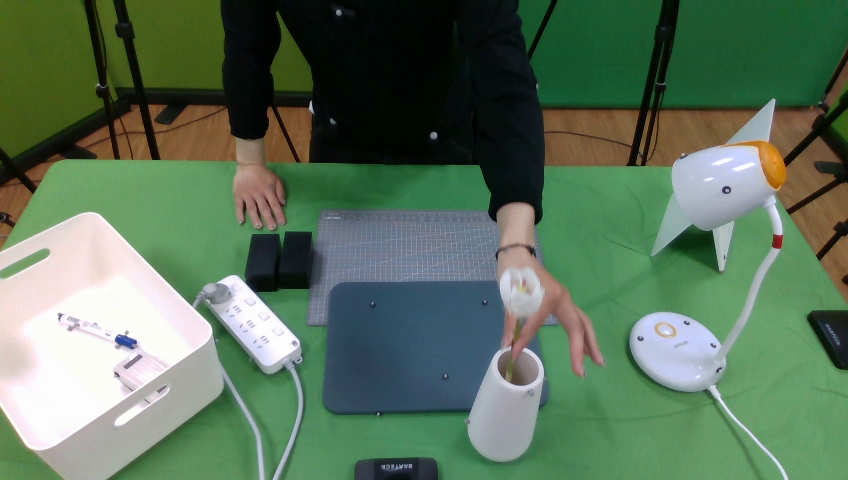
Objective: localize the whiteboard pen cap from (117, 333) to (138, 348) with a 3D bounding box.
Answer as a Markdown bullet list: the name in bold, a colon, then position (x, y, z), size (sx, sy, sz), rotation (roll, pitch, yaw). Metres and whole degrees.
- **whiteboard pen cap**: position (-0.489, 0.165, 0.997), size (0.033, 0.018, 0.018), rotation (17, 48, 10)

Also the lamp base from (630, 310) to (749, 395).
- **lamp base**: position (0.447, 0.142, 0.984), size (0.161, 0.181, 0.178), rotation (-24, 55, -24)

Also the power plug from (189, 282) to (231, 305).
- **power plug**: position (-0.368, 0.097, 1.039), size (0.072, 0.053, 0.035), rotation (-27, 55, -21)

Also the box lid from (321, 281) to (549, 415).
- **box lid**: position (0.013, 0.174, 1.040), size (0.372, 0.015, 0.261), rotation (0, 47, -4)

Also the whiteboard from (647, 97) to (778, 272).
- **whiteboard**: position (0.602, -0.079, 1.162), size (0.144, 0.306, 0.216), rotation (35, 51, 2)

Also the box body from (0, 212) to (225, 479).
- **box body**: position (-0.506, 0.155, 0.915), size (0.362, 0.161, 0.254), rotation (35, 54, 26)

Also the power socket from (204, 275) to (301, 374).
- **power socket**: position (-0.296, 0.140, 1.035), size (0.072, 0.033, 0.225), rotation (-33, 57, -30)

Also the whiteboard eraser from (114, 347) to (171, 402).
- **whiteboard eraser**: position (-0.420, 0.215, 0.936), size (0.112, 0.042, 0.055), rotation (25, 48, 22)

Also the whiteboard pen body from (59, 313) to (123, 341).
- **whiteboard pen body**: position (-0.544, 0.148, 1.009), size (0.140, 0.017, 0.017), rotation (17, 48, 9)

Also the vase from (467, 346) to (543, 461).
- **vase**: position (0.116, 0.234, 0.861), size (0.098, 0.201, 0.097), rotation (1, 47, -1)

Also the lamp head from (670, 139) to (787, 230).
- **lamp head**: position (0.415, -0.078, 0.812), size (0.113, 0.123, 0.112), rotation (12, 70, -37)

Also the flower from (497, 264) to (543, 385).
- **flower**: position (0.107, 0.141, 0.728), size (0.044, 0.364, 0.038), rotation (29, 61, 24)
